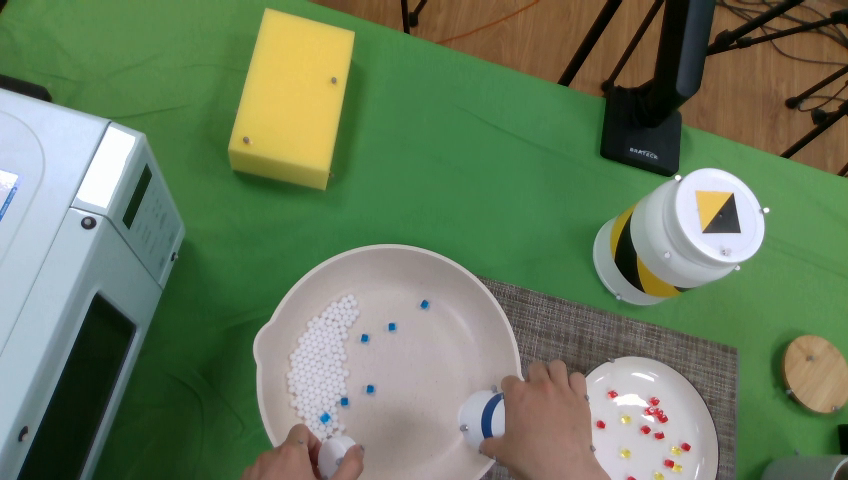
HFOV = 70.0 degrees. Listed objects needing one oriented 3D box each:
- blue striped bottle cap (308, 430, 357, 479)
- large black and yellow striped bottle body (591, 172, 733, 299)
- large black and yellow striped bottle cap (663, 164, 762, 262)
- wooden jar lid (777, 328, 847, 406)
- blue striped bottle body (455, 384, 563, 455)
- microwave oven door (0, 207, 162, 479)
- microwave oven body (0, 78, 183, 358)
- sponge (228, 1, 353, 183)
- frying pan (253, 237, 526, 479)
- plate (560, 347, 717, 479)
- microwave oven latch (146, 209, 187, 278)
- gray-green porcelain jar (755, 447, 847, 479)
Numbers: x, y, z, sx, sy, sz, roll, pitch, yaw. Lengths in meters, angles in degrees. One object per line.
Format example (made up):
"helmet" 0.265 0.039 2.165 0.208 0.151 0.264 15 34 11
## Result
"blue striped bottle cap" -0.088 0.205 0.578 0.044 0.021 0.044 -8 67 19
"large black and yellow striped bottle body" 0.310 -0.006 0.767 0.131 0.184 0.130 4 71 -12
"large black and yellow striped bottle cap" 0.328 -0.032 0.687 0.115 0.019 0.114 4 70 -12
"wooden jar lid" 0.544 0.179 0.853 0.109 0.021 0.108 4 74 -12
"blue striped bottle body" 0.081 0.183 0.628 0.063 0.120 0.063 6 78 -31
"microwave oven door" -0.321 0.170 0.509 0.039 0.244 0.353 16 70 -8
"microwave oven body" -0.451 0.093 0.508 0.327 0.261 0.439 16 71 -8
"sponge" -0.166 -0.188 0.774 0.118 0.061 0.205 11 72 -10
"frying pan" -0.056 0.234 0.644 0.307 0.103 0.484 14 62 -6
"plate" 0.261 0.240 0.752 0.210 0.038 0.208 4 72 -12
"microwave oven latch" -0.292 0.001 0.678 0.030 0.029 0.078 19 70 -8
"gray-green porcelain jar" 0.485 0.308 0.741 0.106 0.127 0.105 4 72 -12
